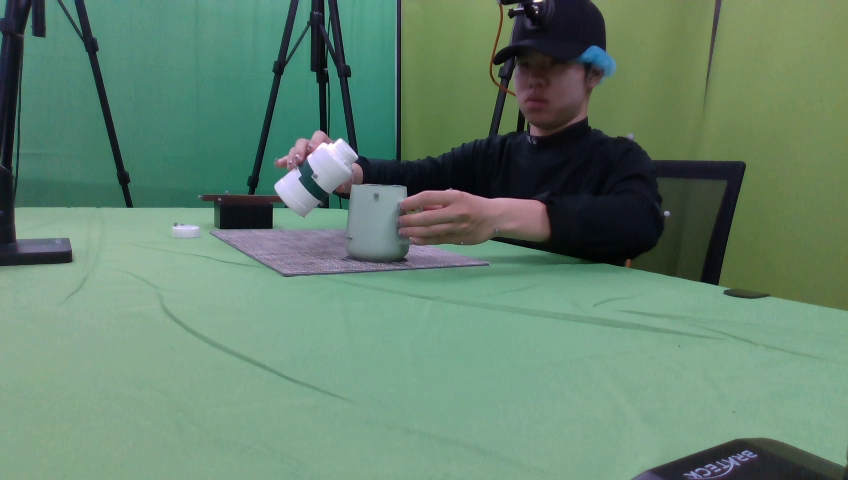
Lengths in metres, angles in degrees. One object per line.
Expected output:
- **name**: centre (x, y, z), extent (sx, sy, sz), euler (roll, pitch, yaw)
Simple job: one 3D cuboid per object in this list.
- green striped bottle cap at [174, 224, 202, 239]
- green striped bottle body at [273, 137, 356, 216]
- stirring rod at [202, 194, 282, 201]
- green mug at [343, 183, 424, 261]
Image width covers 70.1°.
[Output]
- **green striped bottle cap**: centre (-0.404, -0.015, 1.036), extent (0.044, 0.020, 0.044), euler (-2, 9, 1)
- **green striped bottle body**: centre (-0.154, -0.096, 0.876), extent (0.119, 0.063, 0.063), euler (-42, 6, 4)
- **stirring rod**: centre (-0.353, -0.086, 1.216), extent (0.177, 0.014, 0.006), euler (-2, 12, -27)
- **green mug**: centre (-0.053, -0.026, 0.849), extent (0.125, 0.105, 0.093), euler (7, 8, 33)
